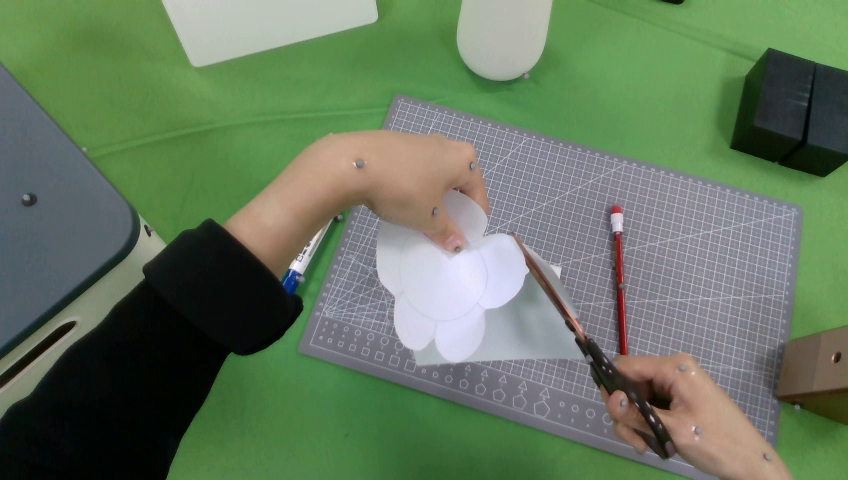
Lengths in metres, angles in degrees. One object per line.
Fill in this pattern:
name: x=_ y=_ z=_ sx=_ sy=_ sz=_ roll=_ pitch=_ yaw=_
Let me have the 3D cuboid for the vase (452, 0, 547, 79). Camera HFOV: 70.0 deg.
vase: x=0.079 y=-0.251 z=0.600 sx=0.098 sy=0.201 sz=0.097 roll=0 pitch=69 yaw=0

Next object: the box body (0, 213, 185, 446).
box body: x=-0.425 y=-0.020 z=0.527 sx=0.362 sy=0.161 sz=0.254 roll=43 pitch=76 yaw=12

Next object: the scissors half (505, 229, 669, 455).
scissors half: x=0.104 y=0.064 z=0.396 sx=0.013 sy=0.040 sz=0.174 roll=-33 pitch=81 yaw=-9

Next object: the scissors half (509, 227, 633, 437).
scissors half: x=0.102 y=0.064 z=0.417 sx=0.013 sy=0.040 sz=0.176 roll=-33 pitch=104 yaw=-4

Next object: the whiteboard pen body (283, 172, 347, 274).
whiteboard pen body: x=-0.114 y=-0.008 z=0.607 sx=0.017 sy=0.017 sz=0.140 roll=23 pitch=70 yaw=7

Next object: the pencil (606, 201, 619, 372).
pencil: x=0.187 y=0.054 z=0.598 sx=0.012 sy=0.012 sz=0.193 roll=4 pitch=74 yaw=0

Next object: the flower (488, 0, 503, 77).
flower: x=0.078 y=-0.293 z=0.526 sx=0.044 sy=0.365 sz=0.038 roll=10 pitch=53 yaw=6

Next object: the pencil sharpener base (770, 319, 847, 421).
pencil sharpener base: x=0.372 y=0.117 z=0.530 sx=0.076 sy=0.107 sz=0.061 roll=21 pitch=71 yaw=3

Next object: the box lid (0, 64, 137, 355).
box lid: x=-0.425 y=-0.046 z=0.457 sx=0.370 sy=0.015 sz=0.263 roll=43 pitch=75 yaw=12

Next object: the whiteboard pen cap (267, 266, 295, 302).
whiteboard pen cap: x=-0.137 y=0.042 z=0.587 sx=0.018 sy=0.018 sz=0.033 roll=22 pitch=68 yaw=7

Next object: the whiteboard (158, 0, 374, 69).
whiteboard: x=-0.192 y=-0.366 z=0.608 sx=0.217 sy=0.308 sz=0.142 roll=-16 pitch=53 yaw=-6
